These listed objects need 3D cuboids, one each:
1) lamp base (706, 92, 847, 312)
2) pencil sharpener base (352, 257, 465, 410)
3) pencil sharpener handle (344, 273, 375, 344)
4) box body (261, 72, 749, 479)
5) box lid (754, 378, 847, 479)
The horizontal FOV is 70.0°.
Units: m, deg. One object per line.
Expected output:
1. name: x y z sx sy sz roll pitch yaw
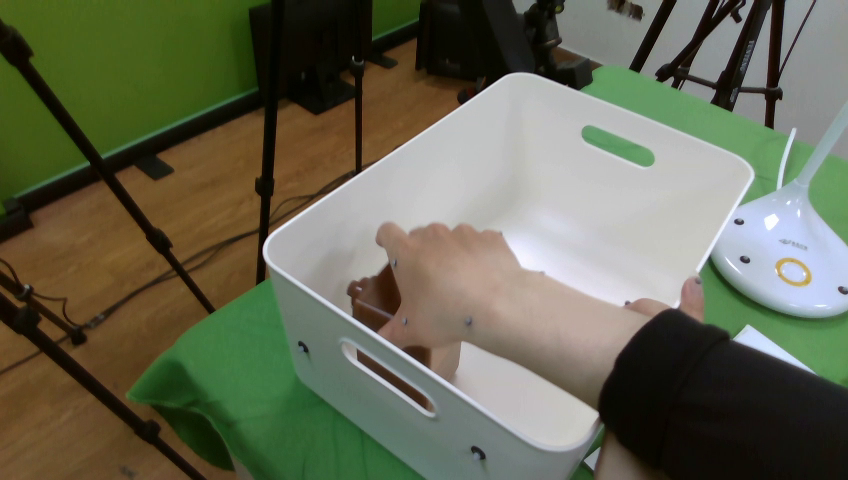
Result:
1. lamp base: 0.397 -0.048 0.620 0.160 0.182 0.178 10 42 5
2. pencil sharpener base: -0.015 0.077 0.500 0.076 0.108 0.061 22 47 19
3. pencil sharpener handle: -0.063 0.053 0.501 0.030 0.068 0.036 22 20 19
4. box body: 0.080 0.025 0.532 0.252 0.162 0.363 30 49 24
5. box lid: 0.461 0.206 0.484 0.372 0.015 0.260 -26 51 -29
